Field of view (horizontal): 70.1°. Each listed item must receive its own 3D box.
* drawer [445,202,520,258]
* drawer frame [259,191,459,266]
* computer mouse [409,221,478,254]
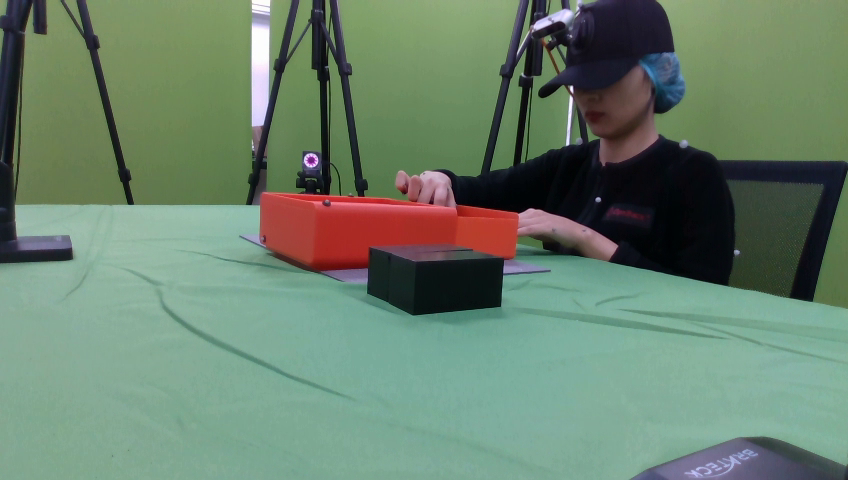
[{"bbox_3d":[0.002,-0.019,0.910,0.213,0.073,0.193,0,8,-34],"label":"drawer"},{"bbox_3d":[-0.094,-0.021,0.846,0.215,0.082,0.200,-1,9,-34],"label":"drawer frame"},{"bbox_3d":[0.029,-0.005,0.918,0.063,0.041,0.116,4,10,-33],"label":"computer mouse"}]
